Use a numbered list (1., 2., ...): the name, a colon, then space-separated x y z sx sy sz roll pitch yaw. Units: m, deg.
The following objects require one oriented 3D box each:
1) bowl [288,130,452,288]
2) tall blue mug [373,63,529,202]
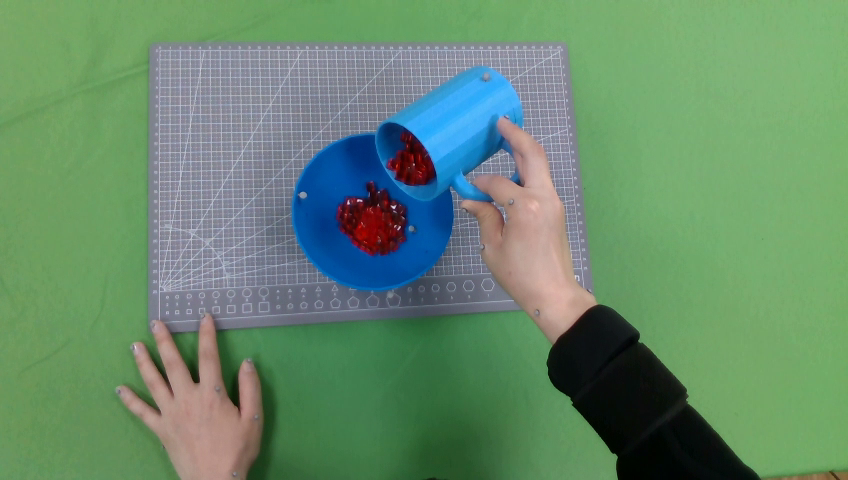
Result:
1. bowl: -0.053 -0.023 0.591 0.152 0.077 0.151 1 81 -8
2. tall blue mug: 0.032 -0.088 0.511 0.106 0.078 0.108 27 53 38
